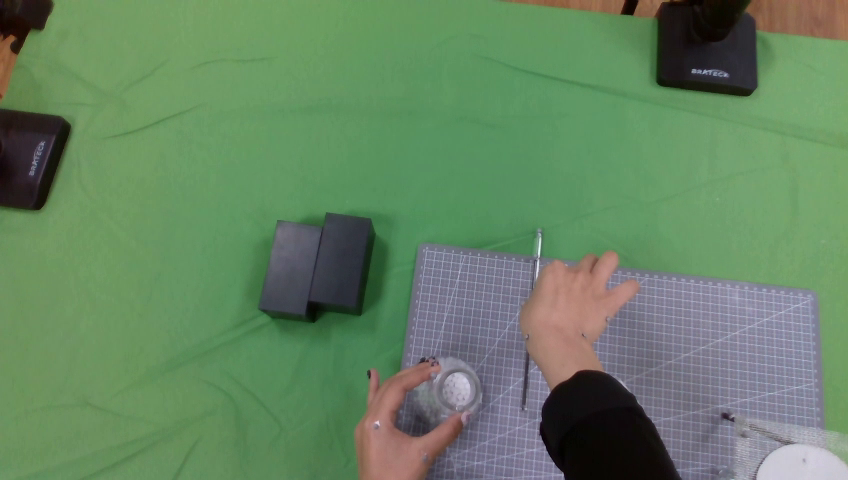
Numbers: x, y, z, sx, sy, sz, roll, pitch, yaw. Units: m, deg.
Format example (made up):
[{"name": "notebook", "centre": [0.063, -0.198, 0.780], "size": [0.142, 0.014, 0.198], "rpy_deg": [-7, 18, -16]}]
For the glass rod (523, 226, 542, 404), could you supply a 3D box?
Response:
[{"name": "glass rod", "centre": [0.120, 0.079, 0.669], "size": [0.008, 0.008, 0.198], "rpy_deg": [7, 74, 3]}]

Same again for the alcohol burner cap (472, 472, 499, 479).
[{"name": "alcohol burner cap", "centre": [0.063, 0.250, 0.604], "size": [0.034, 0.048, 0.033], "rpy_deg": [-1, 75, 2]}]

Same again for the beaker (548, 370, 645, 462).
[{"name": "beaker", "centre": [0.165, 0.172, 0.595], "size": [0.074, 0.101, 0.083], "rpy_deg": [18, 74, 6]}]

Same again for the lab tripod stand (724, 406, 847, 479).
[{"name": "lab tripod stand", "centre": [0.315, 0.229, 0.558], "size": [0.148, 0.132, 0.147], "rpy_deg": [0, 75, 1]}]

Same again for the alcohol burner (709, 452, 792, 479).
[{"name": "alcohol burner", "centre": [0.316, 0.239, 0.566], "size": [0.078, 0.120, 0.077], "rpy_deg": [-1, 73, 4]}]

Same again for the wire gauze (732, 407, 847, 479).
[{"name": "wire gauze", "centre": [0.314, 0.208, 0.494], "size": [0.125, 0.011, 0.121], "rpy_deg": [10, 75, 4]}]

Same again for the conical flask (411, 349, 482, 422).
[{"name": "conical flask", "centre": [0.027, 0.141, 0.591], "size": [0.075, 0.122, 0.075], "rpy_deg": [1, 76, -4]}]
